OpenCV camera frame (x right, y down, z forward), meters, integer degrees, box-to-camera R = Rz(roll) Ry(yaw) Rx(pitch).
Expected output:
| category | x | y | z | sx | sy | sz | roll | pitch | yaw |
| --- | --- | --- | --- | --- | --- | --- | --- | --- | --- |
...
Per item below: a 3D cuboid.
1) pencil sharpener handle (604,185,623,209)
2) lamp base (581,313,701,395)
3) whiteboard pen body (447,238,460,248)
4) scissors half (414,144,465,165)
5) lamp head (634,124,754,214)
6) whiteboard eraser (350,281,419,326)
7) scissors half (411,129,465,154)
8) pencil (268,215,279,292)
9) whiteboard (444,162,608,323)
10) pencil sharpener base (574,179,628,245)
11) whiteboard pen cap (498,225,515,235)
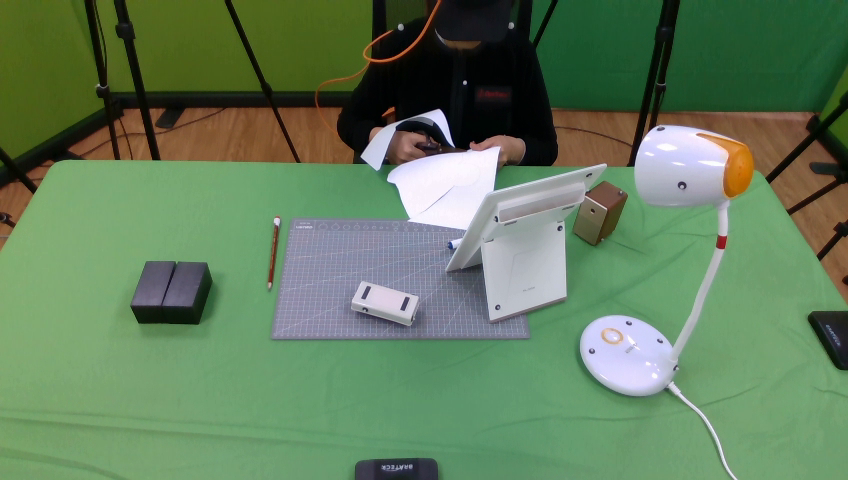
| category | x | y | z | sx | sy | sz | roll | pitch | yaw |
| --- | --- | --- | --- | --- | --- | --- | --- | --- | --- |
| pencil sharpener handle | 0.390 | -0.091 | 1.235 | 0.030 | 0.068 | 0.036 | -34 | 69 | -31 |
| lamp base | 0.361 | 0.144 | 0.972 | 0.178 | 0.181 | 0.160 | 34 | 53 | 23 |
| whiteboard pen body | 0.112 | -0.006 | 1.204 | 0.141 | 0.017 | 0.017 | -14 | 49 | -18 |
| scissors half | 0.034 | -0.197 | 1.372 | 0.013 | 0.040 | 0.175 | -23 | 11 | -36 |
| lamp head | 0.351 | -0.089 | 0.775 | 0.112 | 0.113 | 0.122 | -30 | 30 | -28 |
| whiteboard eraser | -0.069 | 0.113 | 1.065 | 0.112 | 0.042 | 0.055 | 14 | 46 | 9 |
| scissors half | 0.030 | -0.218 | 1.364 | 0.013 | 0.040 | 0.174 | -29 | 40 | -34 |
| pencil | -0.290 | 0.022 | 1.164 | 0.012 | 0.012 | 0.192 | -2 | 48 | -6 |
| whiteboard | 0.186 | 0.025 | 1.029 | 0.217 | 0.306 | 0.143 | -14 | 68 | -17 |
| pencil sharpener base | 0.355 | -0.057 | 1.217 | 0.076 | 0.107 | 0.061 | -33 | 56 | -31 |
| whiteboard pen cap | 0.166 | -0.019 | 1.222 | 0.033 | 0.018 | 0.018 | -14 | 49 | -19 |
